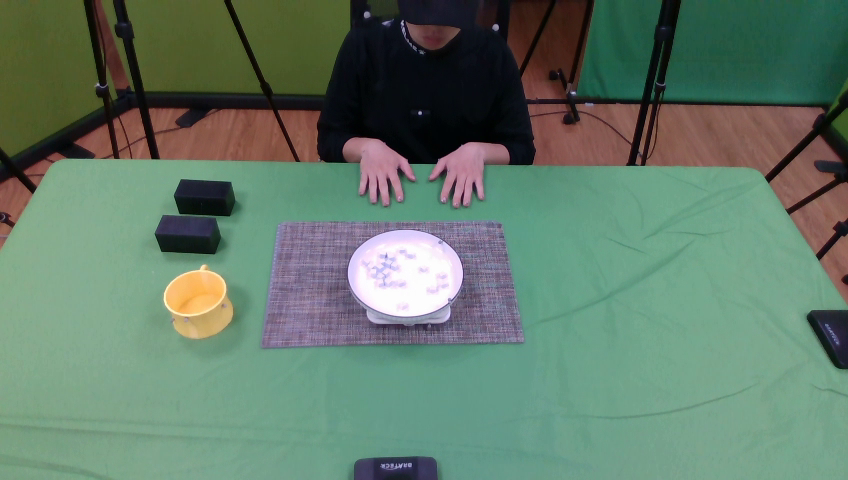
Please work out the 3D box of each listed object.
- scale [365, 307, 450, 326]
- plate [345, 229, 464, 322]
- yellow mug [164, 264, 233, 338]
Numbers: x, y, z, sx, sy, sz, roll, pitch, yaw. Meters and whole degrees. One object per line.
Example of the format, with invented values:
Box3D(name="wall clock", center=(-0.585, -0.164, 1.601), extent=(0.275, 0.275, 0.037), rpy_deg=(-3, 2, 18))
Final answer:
Box3D(name="scale", center=(-0.032, 0.071, 1.113), extent=(0.149, 0.032, 0.199), rpy_deg=(0, 46, -4))
Box3D(name="plate", center=(-0.034, 0.065, 1.073), extent=(0.209, 0.038, 0.208), rpy_deg=(2, 46, -2))
Box3D(name="yellow mug", center=(-0.384, 0.097, 1.044), extent=(0.100, 0.064, 0.130), rpy_deg=(-1, 45, -5))
